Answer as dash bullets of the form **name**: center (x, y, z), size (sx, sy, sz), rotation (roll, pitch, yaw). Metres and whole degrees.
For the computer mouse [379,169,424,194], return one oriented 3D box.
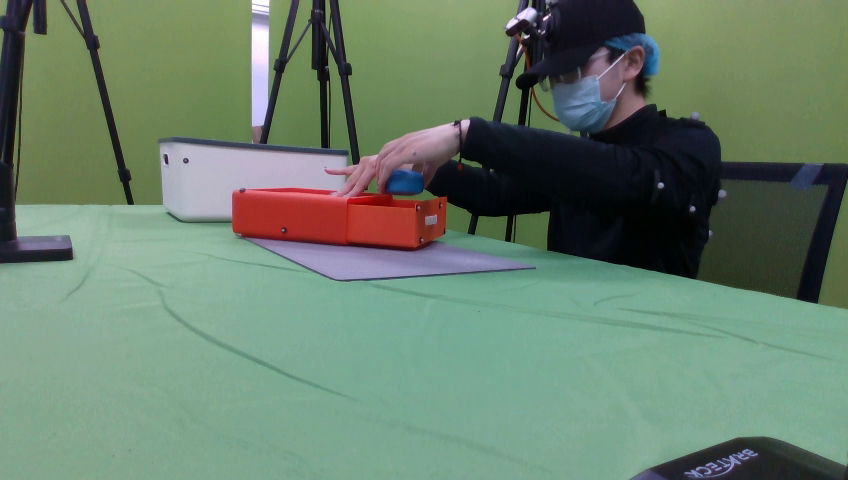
- **computer mouse**: center (-0.038, -0.095, 1.001), size (0.063, 0.041, 0.117), rotation (0, -1, -10)

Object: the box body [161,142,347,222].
- **box body**: center (-0.380, -0.132, 1.352), size (0.366, 0.160, 0.253), rotation (-2, 9, -30)

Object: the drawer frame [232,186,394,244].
- **drawer frame**: center (-0.186, -0.049, 1.059), size (0.213, 0.082, 0.202), rotation (4, 8, 17)

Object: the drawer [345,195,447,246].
- **drawer**: center (-0.082, -0.041, 1.029), size (0.211, 0.073, 0.195), rotation (3, 9, 16)

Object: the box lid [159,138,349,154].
- **box lid**: center (-0.376, -0.206, 1.344), size (0.373, 0.015, 0.262), rotation (-1, 8, -30)
